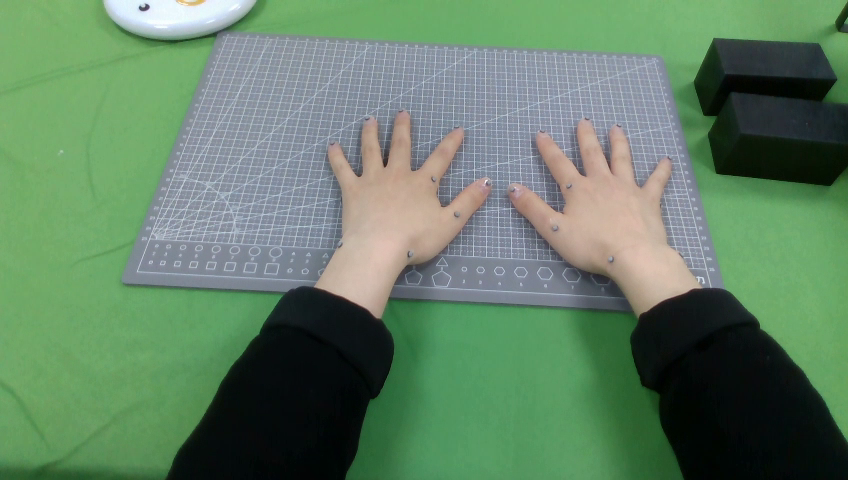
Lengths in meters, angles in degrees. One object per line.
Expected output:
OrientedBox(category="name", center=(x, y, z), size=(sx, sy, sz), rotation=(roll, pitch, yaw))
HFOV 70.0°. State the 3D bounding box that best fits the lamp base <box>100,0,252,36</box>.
OrientedBox(category="lamp base", center=(-0.263, -0.320, 0.581), size=(0.160, 0.182, 0.177), rotation=(-33, 60, -22))
